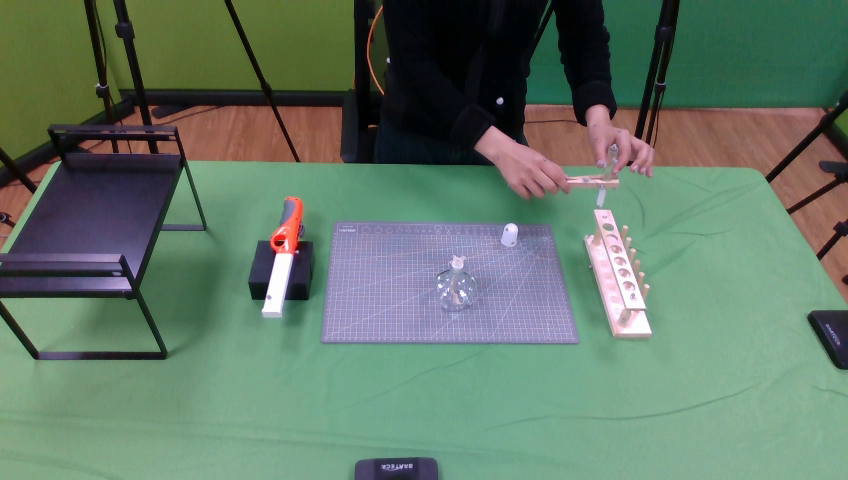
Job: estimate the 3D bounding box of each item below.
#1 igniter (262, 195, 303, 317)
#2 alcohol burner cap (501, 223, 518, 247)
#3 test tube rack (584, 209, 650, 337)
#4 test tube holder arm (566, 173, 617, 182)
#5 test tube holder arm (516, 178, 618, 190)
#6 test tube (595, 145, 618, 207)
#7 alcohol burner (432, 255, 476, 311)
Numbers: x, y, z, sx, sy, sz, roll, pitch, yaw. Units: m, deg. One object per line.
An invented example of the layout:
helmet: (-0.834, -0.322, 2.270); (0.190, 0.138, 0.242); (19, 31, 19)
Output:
igniter: (-0.253, 0.020, 1.090); (0.057, 0.025, 0.275); (0, 49, -1)
alcohol burner cap: (0.172, -0.013, 1.206); (0.034, 0.048, 0.033); (1, 46, 0)
test tube rack: (0.365, 0.056, 1.129); (0.067, 0.085, 0.240); (1, 46, -3)
test tube holder arm: (0.297, -0.106, 1.077); (0.088, 0.015, 0.010); (-7, 44, 2)
test tube holder arm: (0.253, -0.099, 1.077); (0.178, 0.015, 0.013); (-2, 44, 6)
test tube: (0.319, -0.109, 1.067); (0.017, 0.151, 0.017); (-2, 54, 3)
alcohol burner: (0.055, 0.070, 1.068); (0.078, 0.119, 0.077); (3, 45, -3)
